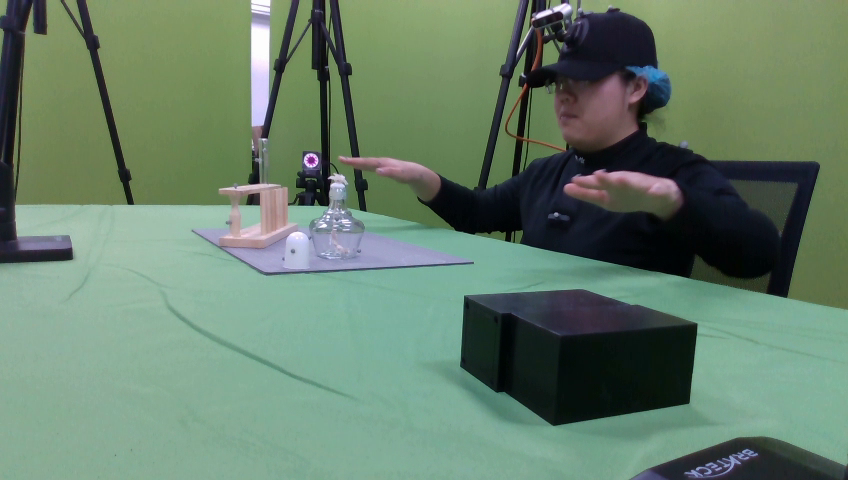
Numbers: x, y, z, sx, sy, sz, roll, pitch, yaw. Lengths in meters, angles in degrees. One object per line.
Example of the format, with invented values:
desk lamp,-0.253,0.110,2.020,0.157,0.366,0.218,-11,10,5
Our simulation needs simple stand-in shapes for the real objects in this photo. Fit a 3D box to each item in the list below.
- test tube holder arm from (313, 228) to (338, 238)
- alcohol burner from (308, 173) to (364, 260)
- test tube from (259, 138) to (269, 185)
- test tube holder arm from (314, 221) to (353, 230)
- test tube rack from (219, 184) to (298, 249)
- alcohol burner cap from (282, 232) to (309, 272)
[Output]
test tube holder arm,-0.177,-0.016,1.094,0.015,0.010,0.088,9,13,11
alcohol burner,-0.121,-0.033,0.841,0.078,0.119,0.078,3,5,0
test tube,-0.281,-0.104,1.064,0.017,0.150,0.017,2,12,0
test tube holder arm,-0.167,-0.027,1.137,0.015,0.013,0.179,10,7,11
test tube rack,-0.266,-0.046,1.002,0.067,0.085,0.242,3,7,0
alcohol burner cap,-0.157,0.014,0.740,0.034,0.048,0.034,2,6,0
